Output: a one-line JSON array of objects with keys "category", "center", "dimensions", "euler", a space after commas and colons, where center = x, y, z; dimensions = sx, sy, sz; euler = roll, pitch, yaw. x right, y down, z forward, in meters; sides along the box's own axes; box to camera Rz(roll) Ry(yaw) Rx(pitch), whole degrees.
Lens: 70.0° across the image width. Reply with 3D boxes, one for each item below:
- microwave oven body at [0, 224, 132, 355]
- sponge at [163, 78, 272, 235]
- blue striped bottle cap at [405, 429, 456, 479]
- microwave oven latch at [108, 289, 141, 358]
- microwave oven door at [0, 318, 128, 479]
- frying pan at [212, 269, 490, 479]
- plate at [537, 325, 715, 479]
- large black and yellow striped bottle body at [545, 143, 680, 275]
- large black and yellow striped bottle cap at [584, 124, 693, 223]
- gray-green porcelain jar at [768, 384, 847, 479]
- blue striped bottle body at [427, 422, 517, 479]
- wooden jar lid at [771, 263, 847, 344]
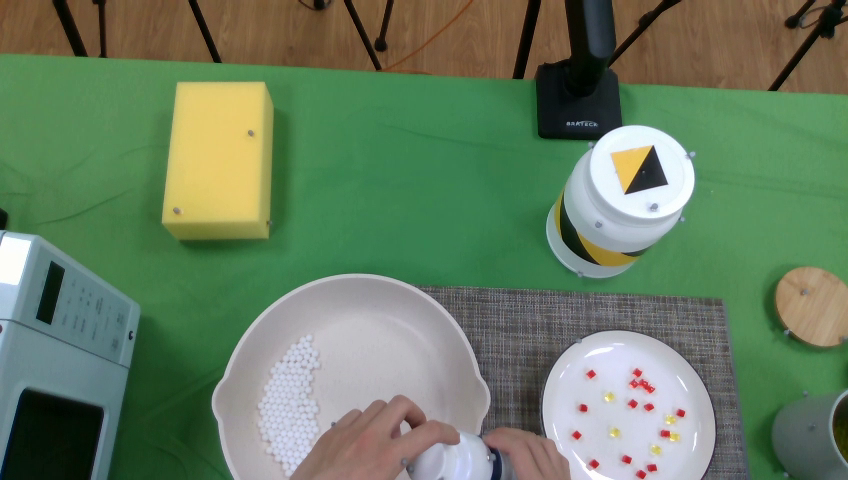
[{"category": "microwave oven body", "center": [-0.511, 0.222, 0.562], "dimensions": [0.326, 0.261, 0.438], "euler": [3, 70, -2]}, {"category": "sponge", "center": [-0.270, -0.112, 0.806], "dimensions": [0.118, 0.061, 0.205], "euler": [-2, 71, -4]}, {"category": "blue striped bottle cap", "center": [0.005, 0.189, 0.532], "dimensions": [0.044, 0.021, 0.044], "euler": [-18, 61, 35]}, {"category": "microwave oven latch", "center": [-0.360, 0.099, 0.718], "dimensions": [0.030, 0.029, 0.078], "euler": [6, 70, -1]}, {"category": "microwave oven door", "center": [-0.368, 0.268, 0.547], "dimensions": [0.039, 0.245, 0.353], "euler": [3, 69, -1]}, {"category": "frying pan", "center": [-0.083, 0.272, 0.650], "dimensions": [0.307, 0.103, 0.483], "euler": [1, 62, 0]}, {"category": "plate", "center": [0.237, 0.206, 0.724], "dimensions": [0.209, 0.038, 0.207], "euler": [1, 70, -2]}, {"category": "large black and yellow striped bottle body", "center": [0.231, -0.044, 0.742], "dimensions": [0.131, 0.185, 0.130], "euler": [1, 69, -2]}, {"category": "large black and yellow striped bottle cap", "center": [0.234, -0.074, 0.661], "dimensions": [0.115, 0.019, 0.114], "euler": [1, 69, -2]}, {"category": "gray-green porcelain jar", "center": [0.468, 0.222, 0.686], "dimensions": [0.106, 0.127, 0.105], "euler": [1, 69, -2]}, {"category": "blue striped bottle body", "center": [0.035, 0.209, 0.572], "dimensions": [0.063, 0.122, 0.062], "euler": [-16, 60, 31]}, {"category": "wooden jar lid", "center": [0.508, 0.084, 0.795], "dimensions": [0.108, 0.021, 0.107], "euler": [1, 71, -2]}]
